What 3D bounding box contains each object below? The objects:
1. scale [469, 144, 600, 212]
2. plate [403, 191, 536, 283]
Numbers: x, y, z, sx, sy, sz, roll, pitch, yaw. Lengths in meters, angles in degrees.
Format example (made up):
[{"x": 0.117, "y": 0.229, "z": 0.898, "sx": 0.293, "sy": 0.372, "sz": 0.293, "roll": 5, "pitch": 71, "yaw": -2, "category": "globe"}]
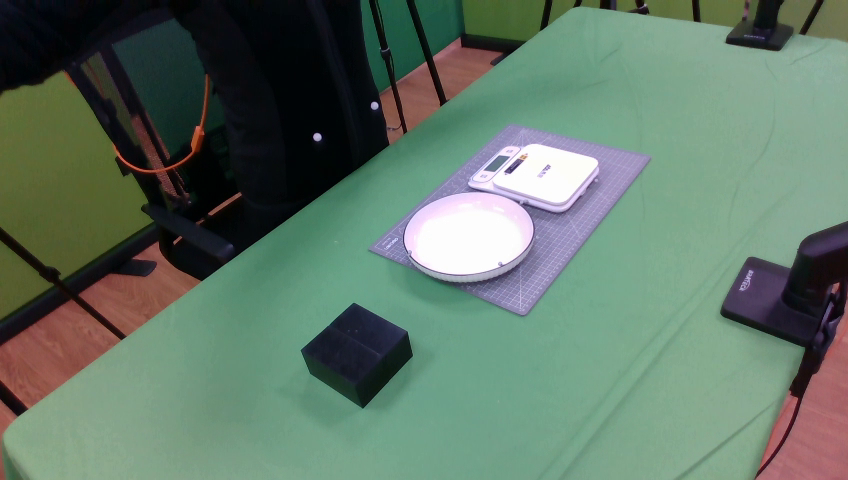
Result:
[{"x": 0.194, "y": -0.117, "z": 1.075, "sx": 0.199, "sy": 0.032, "sz": 0.149, "roll": 21, "pitch": 48, "yaw": 32, "category": "scale"}, {"x": 0.071, "y": -0.003, "z": 0.959, "sx": 0.209, "sy": 0.038, "sz": 0.208, "roll": -5, "pitch": 40, "yaw": 5, "category": "plate"}]
